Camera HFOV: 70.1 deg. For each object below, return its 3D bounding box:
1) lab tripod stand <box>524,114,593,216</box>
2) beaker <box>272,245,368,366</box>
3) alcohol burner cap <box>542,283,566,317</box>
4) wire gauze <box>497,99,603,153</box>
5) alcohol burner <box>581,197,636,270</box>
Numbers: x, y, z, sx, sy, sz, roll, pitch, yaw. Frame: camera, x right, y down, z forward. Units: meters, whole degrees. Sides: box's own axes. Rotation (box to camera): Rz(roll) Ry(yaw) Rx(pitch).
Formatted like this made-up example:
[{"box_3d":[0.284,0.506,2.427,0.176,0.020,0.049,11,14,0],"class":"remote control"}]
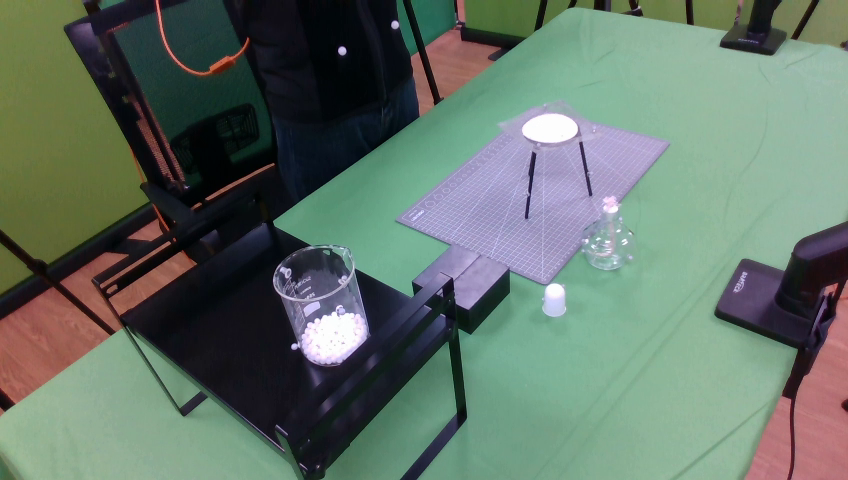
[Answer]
[{"box_3d":[0.210,-0.127,1.001,0.148,0.132,0.147,-4,43,4],"class":"lab tripod stand"},{"box_3d":[-0.093,0.064,0.578,0.073,0.101,0.084,21,48,29],"class":"beaker"},{"box_3d":[0.181,0.080,0.840,0.034,0.048,0.033,-3,40,3],"class":"alcohol burner cap"},{"box_3d":[0.199,-0.181,0.962,0.125,0.011,0.120,-20,43,-13],"class":"wire gauze"},{"box_3d":[0.270,-0.015,0.882,0.078,0.119,0.077,-5,42,5],"class":"alcohol burner"}]
